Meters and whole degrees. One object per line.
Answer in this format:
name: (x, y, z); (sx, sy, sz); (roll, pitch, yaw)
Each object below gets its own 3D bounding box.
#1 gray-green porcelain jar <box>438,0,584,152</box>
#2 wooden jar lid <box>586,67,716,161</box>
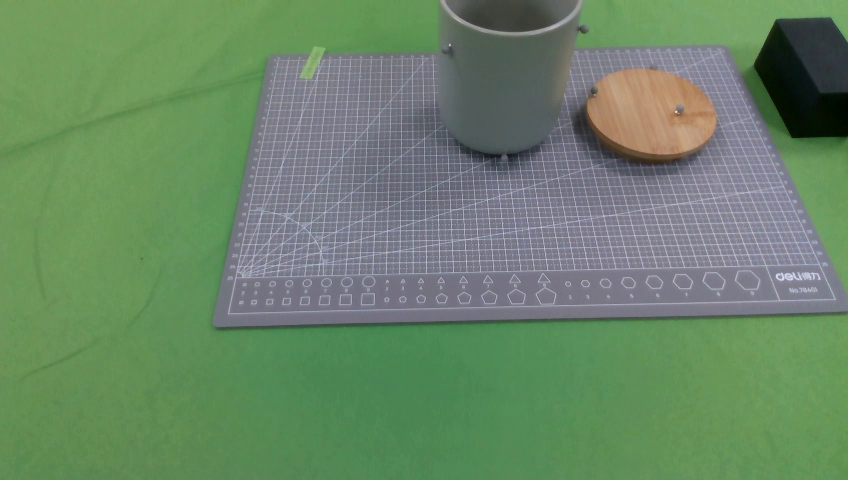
gray-green porcelain jar: (0.064, -0.143, 0.486); (0.106, 0.127, 0.105); (0, 54, 1)
wooden jar lid: (0.194, -0.108, 0.525); (0.108, 0.021, 0.107); (-1, 53, 1)
